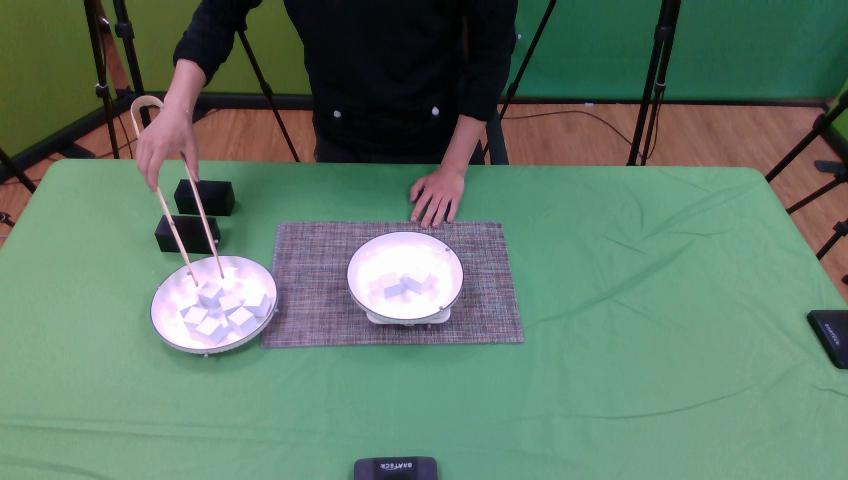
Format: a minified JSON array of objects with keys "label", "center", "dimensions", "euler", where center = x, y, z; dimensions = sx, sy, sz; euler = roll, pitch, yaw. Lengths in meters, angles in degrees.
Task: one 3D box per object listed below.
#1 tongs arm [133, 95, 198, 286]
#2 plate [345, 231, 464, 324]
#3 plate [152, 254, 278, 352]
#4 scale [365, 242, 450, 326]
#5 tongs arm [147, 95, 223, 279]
[{"label":"tongs arm","center":[-0.455,-0.095,1.089],"dimensions":[0.051,0.026,0.383],"euler":[-23,75,-18]},{"label":"plate","center":[-0.034,0.069,1.069],"dimensions":[0.209,0.038,0.208],"euler":[2,46,-2]},{"label":"plate","center":[-0.357,0.111,1.052],"dimensions":[0.208,0.039,0.206],"euler":[2,46,-2]},{"label":"scale","center":[-0.032,0.071,1.113],"dimensions":[0.149,0.032,0.199],"euler":[0,46,-4]},{"label":"tongs arm","center":[-0.431,-0.103,1.098],"dimensions":[0.028,0.028,0.386],"euler":[-21,74,-14]}]
